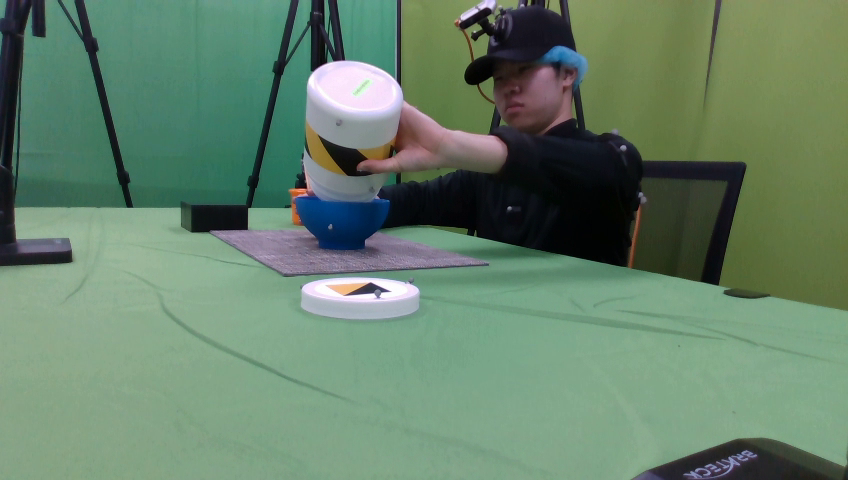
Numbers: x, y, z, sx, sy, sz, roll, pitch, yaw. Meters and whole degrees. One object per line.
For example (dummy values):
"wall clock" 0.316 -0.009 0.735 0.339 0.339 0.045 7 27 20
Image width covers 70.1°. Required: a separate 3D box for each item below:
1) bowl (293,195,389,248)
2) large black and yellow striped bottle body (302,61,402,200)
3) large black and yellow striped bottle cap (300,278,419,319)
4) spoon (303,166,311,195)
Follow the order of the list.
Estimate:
"bowl" -0.132 -0.030 0.962 0.151 0.077 0.151 2 7 0
"large black and yellow striped bottle body" -0.109 -0.150 0.883 0.131 0.184 0.130 8 47 -8
"large black and yellow striped bottle cap" -0.062 0.055 0.588 0.115 0.019 0.115 1 6 0
"spoon" -0.257 -0.113 1.341 0.042 0.193 0.021 4 -38 -19
